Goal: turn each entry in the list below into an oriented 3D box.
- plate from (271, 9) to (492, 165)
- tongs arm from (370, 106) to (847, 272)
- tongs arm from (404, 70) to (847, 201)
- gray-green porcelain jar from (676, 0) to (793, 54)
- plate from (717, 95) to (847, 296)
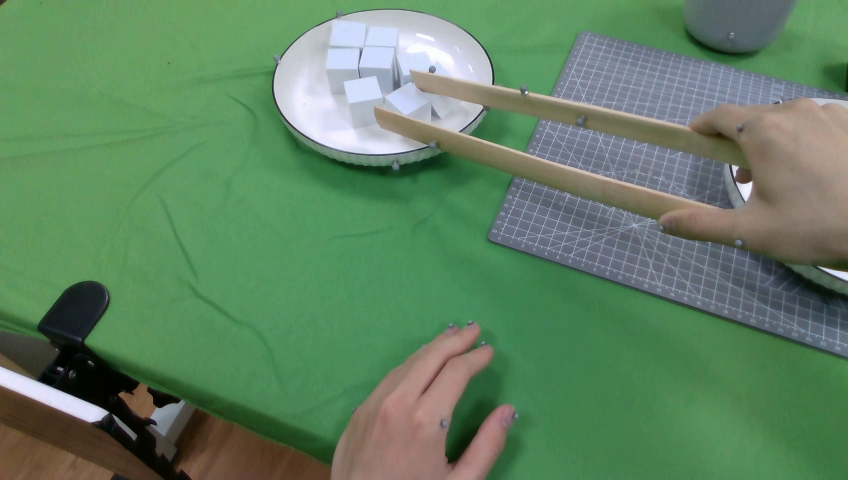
[{"bbox_3d":[-0.039,-0.146,0.583,0.208,0.039,0.205,0,55,0],"label":"plate"},{"bbox_3d":[0.112,-0.048,0.430,0.384,0.028,0.028,21,58,30],"label":"tongs arm"},{"bbox_3d":[0.130,-0.072,0.442,0.382,0.027,0.050,20,60,30],"label":"tongs arm"},{"bbox_3d":[0.321,-0.263,0.610,0.106,0.127,0.105,0,54,1],"label":"gray-green porcelain jar"},{"bbox_3d":[0.347,-0.036,0.500,0.209,0.038,0.207,0,55,1],"label":"plate"}]
